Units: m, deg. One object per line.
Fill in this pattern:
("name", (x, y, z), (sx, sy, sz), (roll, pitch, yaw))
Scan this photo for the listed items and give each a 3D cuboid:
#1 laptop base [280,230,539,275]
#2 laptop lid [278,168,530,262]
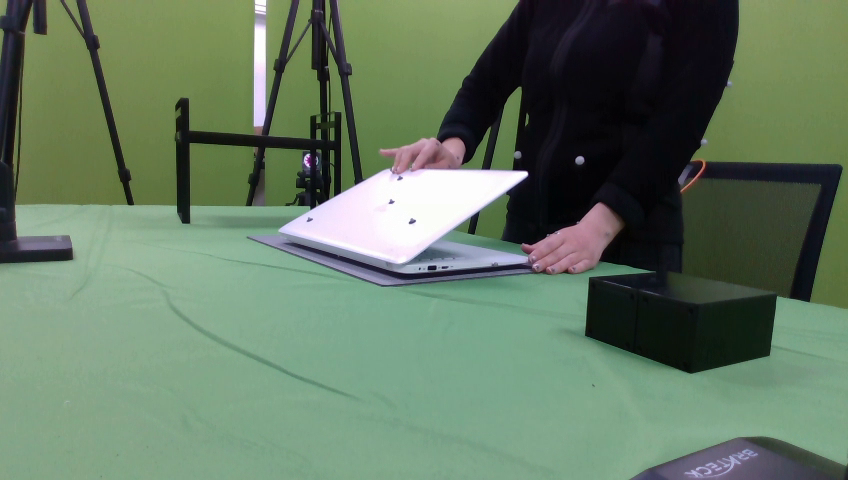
("laptop base", (-0.037, 0.014, 0.895), (0.237, 0.023, 0.352), (0, 7, -38))
("laptop lid", (-0.046, -0.051, 0.877), (0.242, 0.013, 0.355), (-32, 25, -28))
